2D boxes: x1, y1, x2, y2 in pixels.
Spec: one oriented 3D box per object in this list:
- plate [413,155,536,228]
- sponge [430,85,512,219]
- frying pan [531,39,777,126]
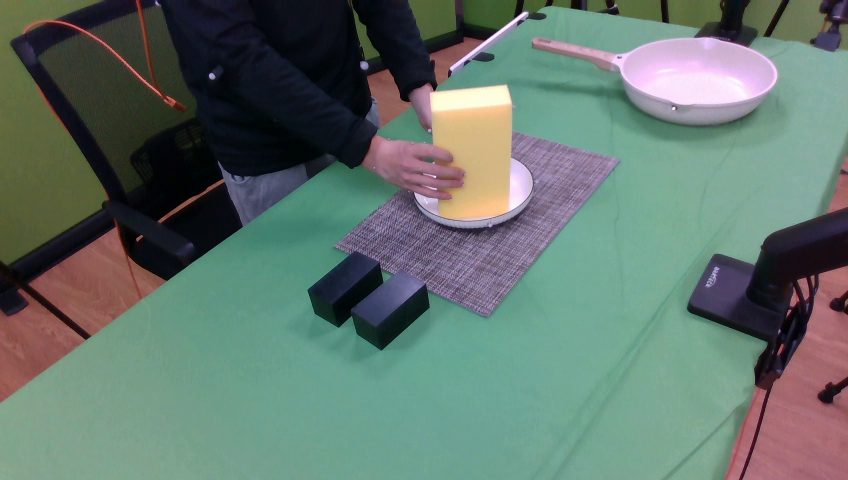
[{"bbox_3d":[0.087,-0.085,1.038,0.207,0.039,0.206,-4,41,4],"label":"plate"},{"bbox_3d":[0.075,-0.131,0.950,0.118,0.208,0.060,-5,42,0],"label":"sponge"},{"bbox_3d":[0.452,-0.354,1.254,0.485,0.103,0.307,22,47,19],"label":"frying pan"}]
